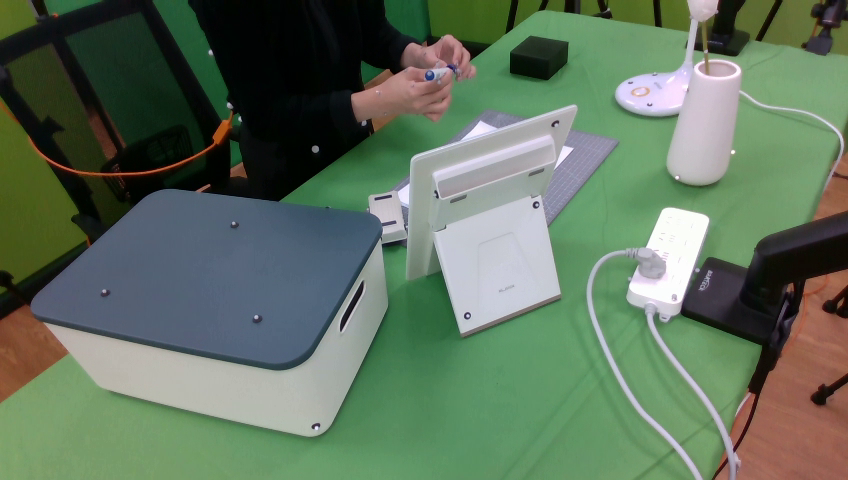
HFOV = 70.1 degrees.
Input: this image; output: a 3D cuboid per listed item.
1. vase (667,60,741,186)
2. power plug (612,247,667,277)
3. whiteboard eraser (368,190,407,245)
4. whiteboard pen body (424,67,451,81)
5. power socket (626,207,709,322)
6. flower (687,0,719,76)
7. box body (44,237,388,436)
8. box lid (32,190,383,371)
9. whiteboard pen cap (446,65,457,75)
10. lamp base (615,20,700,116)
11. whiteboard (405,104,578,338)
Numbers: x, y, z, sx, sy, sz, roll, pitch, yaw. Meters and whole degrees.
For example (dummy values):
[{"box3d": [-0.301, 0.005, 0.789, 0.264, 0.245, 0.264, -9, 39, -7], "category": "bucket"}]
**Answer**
[{"box3d": [0.463, -0.189, 0.994, 0.098, 0.201, 0.097, -4, 40, 3], "category": "vase"}, {"box3d": [0.306, 0.031, 0.852, 0.072, 0.053, 0.035, 21, 48, 37], "category": "power plug"}, {"box3d": [-0.061, -0.035, 1.006, 0.056, 0.042, 0.112, -9, 40, -3], "category": "whiteboard eraser"}, {"box3d": [0.025, -0.266, 0.968, 0.017, 0.017, 0.141, 6, 19, 15], "category": "whiteboard pen body"}, {"box3d": [0.360, 0.026, 0.886, 0.072, 0.033, 0.227, 17, 46, 27], "category": "power socket"}, {"box3d": [0.436, -0.242, 0.934, 0.038, 0.364, 0.043, -24, 49, 8], "category": "flower"}, {"box3d": [-0.251, 0.088, 0.799, 0.362, 0.161, 0.254, 7, 42, 16], "category": "box body"}, {"box3d": [-0.257, 0.032, 0.750, 0.370, 0.015, 0.263, 7, 42, 16], "category": "box lid"}, {"box3d": [0.045, -0.294, 1.044, 0.018, 0.018, 0.033, 3, 17, 11], "category": "whiteboard pen cap"}, {"box3d": [0.484, -0.364, 1.211, 0.180, 0.181, 0.159, -15, 41, -14], "category": "lamp base"}, {"box3d": [0.102, 0.003, 0.787, 0.218, 0.306, 0.143, -19, 62, -14], "category": "whiteboard"}]
